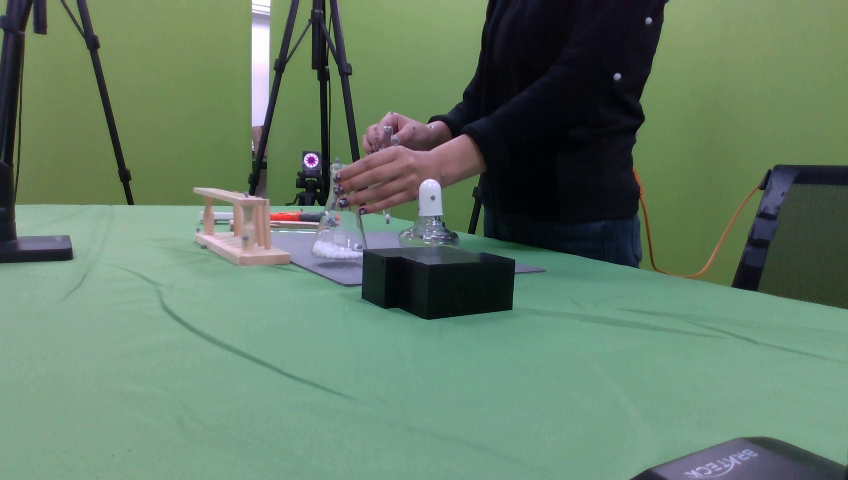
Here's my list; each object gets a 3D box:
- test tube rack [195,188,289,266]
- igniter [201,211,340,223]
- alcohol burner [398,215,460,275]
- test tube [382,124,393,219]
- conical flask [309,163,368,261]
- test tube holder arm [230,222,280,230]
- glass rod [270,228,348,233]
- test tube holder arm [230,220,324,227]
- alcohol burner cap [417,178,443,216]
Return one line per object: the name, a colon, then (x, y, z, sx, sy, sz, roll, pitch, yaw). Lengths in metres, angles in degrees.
test tube rack: (-0.266, -0.025, 0.863, 0.067, 0.085, 0.241, -2, 9, -33)
igniter: (-0.311, -0.047, 1.243, 0.278, 0.025, 0.057, -1, -2, -24)
alcohol burner: (0.007, -0.017, 0.751, 0.078, 0.119, 0.078, 3, 9, 0)
test tube: (-0.058, -0.107, 0.953, 0.017, 0.150, 0.017, 1, 14, 0)
conical flask: (-0.106, -0.036, 0.773, 0.075, 0.122, 0.075, 4, 1, 0)
test tube holder arm: (-0.312, -0.025, 1.118, 0.088, 0.015, 0.010, -1, 44, -30)
glass rod: (-0.234, -0.018, 1.104, 0.201, 0.008, 0.008, 1, 7, -26)
test tube holder arm: (-0.275, -0.030, 1.145, 0.179, 0.015, 0.013, -2, 45, -31)
alcohol burner cap: (0.007, -0.053, 0.745, 0.034, 0.048, 0.034, -3, 6, 1)
